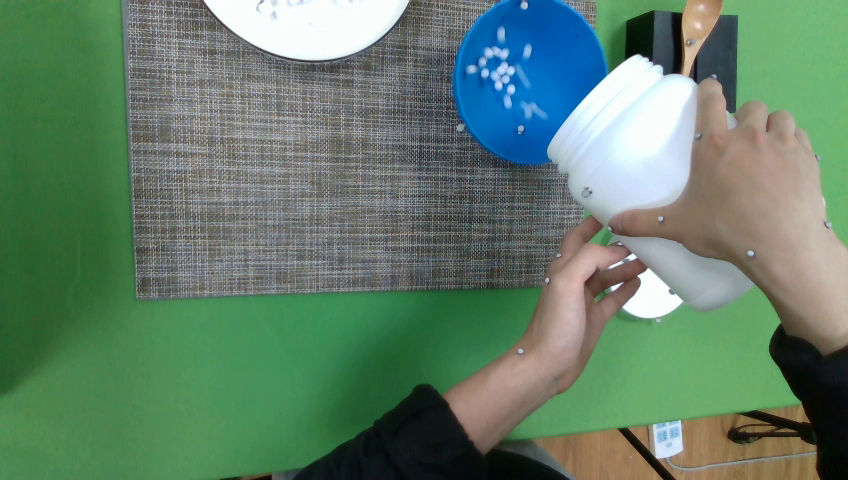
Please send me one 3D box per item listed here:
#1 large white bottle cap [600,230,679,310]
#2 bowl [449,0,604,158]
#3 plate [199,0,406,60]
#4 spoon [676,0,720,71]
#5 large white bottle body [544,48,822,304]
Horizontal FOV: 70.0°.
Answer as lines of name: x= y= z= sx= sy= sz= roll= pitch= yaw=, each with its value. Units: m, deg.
large white bottle cap: x=0.255 y=0.024 z=0.690 sx=0.115 sy=0.018 sz=0.115 roll=-2 pitch=99 yaw=-16
bowl: x=0.087 y=-0.154 z=0.583 sx=0.152 sy=0.076 sz=0.151 roll=-2 pitch=98 yaw=-15
plate: x=-0.110 y=-0.262 z=0.534 sx=0.210 sy=0.038 sz=0.209 roll=-1 pitch=95 yaw=-16
spoon: x=0.255 y=-0.165 z=0.615 sx=0.042 sy=0.021 sz=0.194 roll=11 pitch=100 yaw=-19
large white bottle body: x=0.200 y=-0.054 z=0.494 sx=0.130 sy=0.131 sz=0.184 roll=-43 pitch=79 yaw=-6
